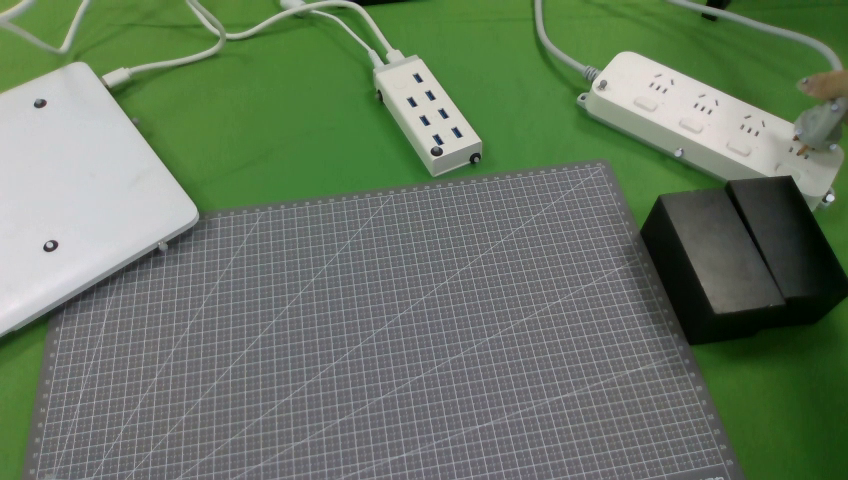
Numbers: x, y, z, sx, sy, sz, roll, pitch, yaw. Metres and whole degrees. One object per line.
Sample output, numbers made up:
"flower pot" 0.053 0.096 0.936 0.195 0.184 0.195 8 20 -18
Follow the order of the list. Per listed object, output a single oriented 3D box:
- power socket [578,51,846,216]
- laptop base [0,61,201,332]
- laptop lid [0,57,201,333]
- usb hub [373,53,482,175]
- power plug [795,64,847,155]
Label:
"power socket" 0.247 -0.097 0.525 0.225 0.033 0.072 33 62 20
"laptop base" -0.381 0.001 0.470 0.354 0.023 0.233 -35 66 -20
"laptop lid" -0.380 -0.004 0.459 0.357 0.013 0.239 -33 65 -19
"usb hub" 0.000 -0.115 0.542 0.049 0.025 0.124 -23 60 -14
"power plug" 0.325 -0.099 0.484 0.072 0.053 0.035 -39 71 -24
